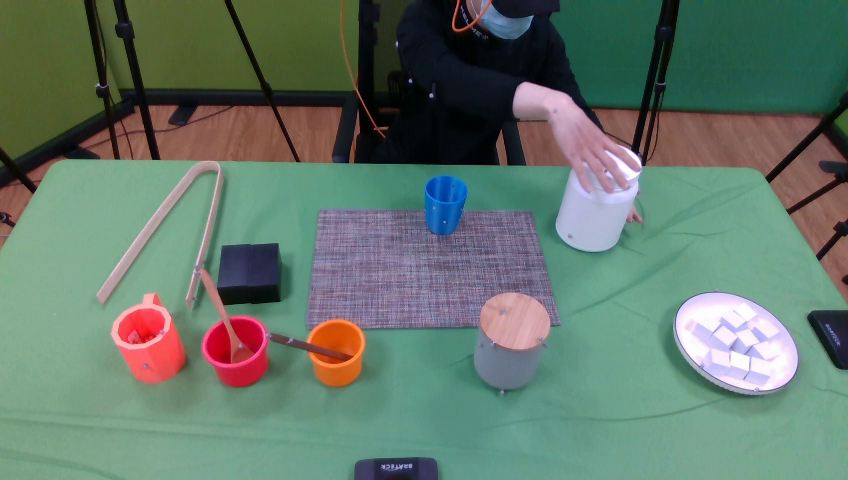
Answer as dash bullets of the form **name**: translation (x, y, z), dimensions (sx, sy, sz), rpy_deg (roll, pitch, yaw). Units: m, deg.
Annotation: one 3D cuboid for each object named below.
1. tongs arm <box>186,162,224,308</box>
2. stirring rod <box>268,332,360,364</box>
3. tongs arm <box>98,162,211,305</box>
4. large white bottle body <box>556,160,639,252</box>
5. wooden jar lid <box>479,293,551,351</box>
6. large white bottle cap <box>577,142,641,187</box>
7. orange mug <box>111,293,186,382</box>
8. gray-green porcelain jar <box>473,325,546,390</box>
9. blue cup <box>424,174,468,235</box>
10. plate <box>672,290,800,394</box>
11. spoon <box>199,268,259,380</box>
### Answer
- **tongs arm**: translation (-0.435, -0.025, 1.181), dimensions (0.051, 0.027, 0.382), rpy_deg (-3, 45, 1)
- **stirring rod**: translation (-0.167, 0.169, 0.942), dimensions (0.177, 0.006, 0.014), rpy_deg (26, 25, -41)
- **tongs arm**: translation (-0.519, -0.027, 1.184), dimensions (0.028, 0.028, 0.385), rpy_deg (5, 45, 13)
- **large white bottle body**: translation (0.340, -0.082, 1.185), dimensions (0.131, 0.185, 0.130), rpy_deg (2, 46, -2)
- **wooden jar lid**: translation (0.137, 0.127, 0.925), dimensions (0.108, 0.021, 0.107), rpy_deg (1, 47, -1)
- **large white bottle cap**: translation (0.343, -0.141, 1.123), dimensions (0.115, 0.018, 0.114), rpy_deg (2, 46, -2)
- **orange mug**: translation (-0.435, 0.149, 0.969), dimensions (0.083, 0.101, 0.125), rpy_deg (-5, 51, -8)
- **gray-green porcelain jar**: translation (0.135, 0.170, 0.969), dimensions (0.106, 0.127, 0.105), rpy_deg (2, 46, -2)
- **blue cup**: translation (0.039, -0.065, 1.201), dimensions (0.093, 0.101, 0.092), rpy_deg (3, 47, -3)
- **plate**: translation (0.533, 0.178, 1.050), dimensions (0.208, 0.039, 0.206), rpy_deg (2, 46, -2)
- **spoon**: translation (-0.312, 0.132, 0.962), dimensions (0.041, 0.021, 0.194), rpy_deg (-24, 96, -21)
